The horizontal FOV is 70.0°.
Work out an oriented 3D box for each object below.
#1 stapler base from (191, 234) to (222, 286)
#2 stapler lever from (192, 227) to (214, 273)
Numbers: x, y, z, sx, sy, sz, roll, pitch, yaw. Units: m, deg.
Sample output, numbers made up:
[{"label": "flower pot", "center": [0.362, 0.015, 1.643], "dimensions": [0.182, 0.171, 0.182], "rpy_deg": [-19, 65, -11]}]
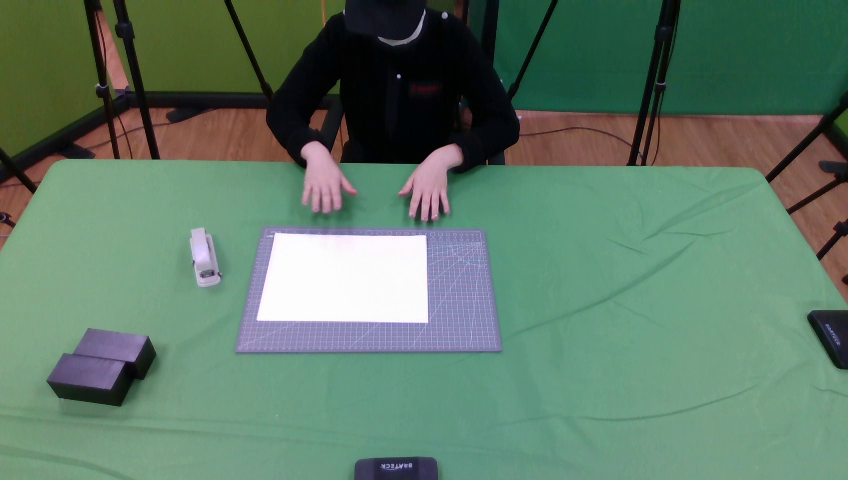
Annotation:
[{"label": "stapler base", "center": [-0.410, 0.031, 1.135], "dimensions": [0.041, 0.024, 0.129], "rpy_deg": [-13, 47, -18]}, {"label": "stapler lever", "center": [-0.410, 0.013, 1.118], "dimensions": [0.027, 0.040, 0.117], "rpy_deg": [-13, 48, -18]}]
